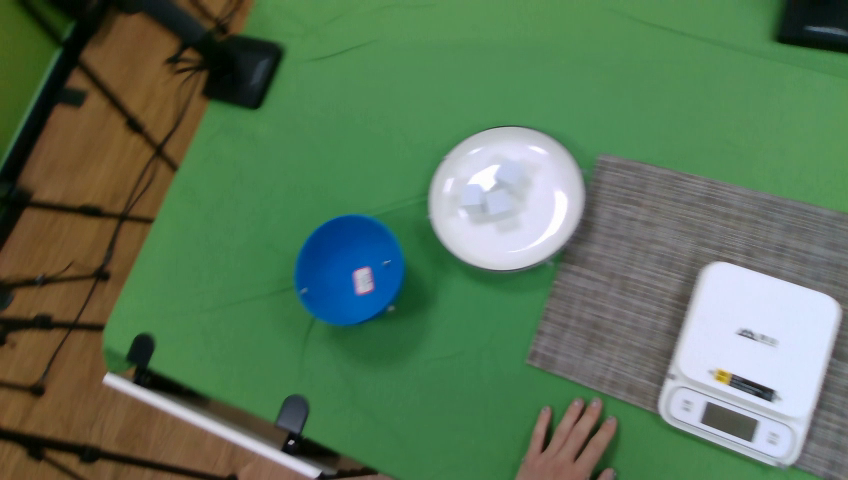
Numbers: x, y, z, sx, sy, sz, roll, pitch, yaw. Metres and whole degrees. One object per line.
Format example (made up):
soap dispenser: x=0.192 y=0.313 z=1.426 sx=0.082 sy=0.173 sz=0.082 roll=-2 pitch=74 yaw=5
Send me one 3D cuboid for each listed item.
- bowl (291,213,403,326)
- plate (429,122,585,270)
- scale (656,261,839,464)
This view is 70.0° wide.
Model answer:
bowl: x=-0.091 y=0.046 z=0.816 sx=0.151 sy=0.077 sz=0.150 roll=-4 pitch=73 yaw=14
plate: x=0.111 y=-0.057 z=0.816 sx=0.207 sy=0.039 sz=0.206 roll=-4 pitch=73 yaw=14
scale: x=0.365 y=0.134 z=0.688 sx=0.148 sy=0.032 sz=0.200 roll=19 pitch=80 yaw=20
